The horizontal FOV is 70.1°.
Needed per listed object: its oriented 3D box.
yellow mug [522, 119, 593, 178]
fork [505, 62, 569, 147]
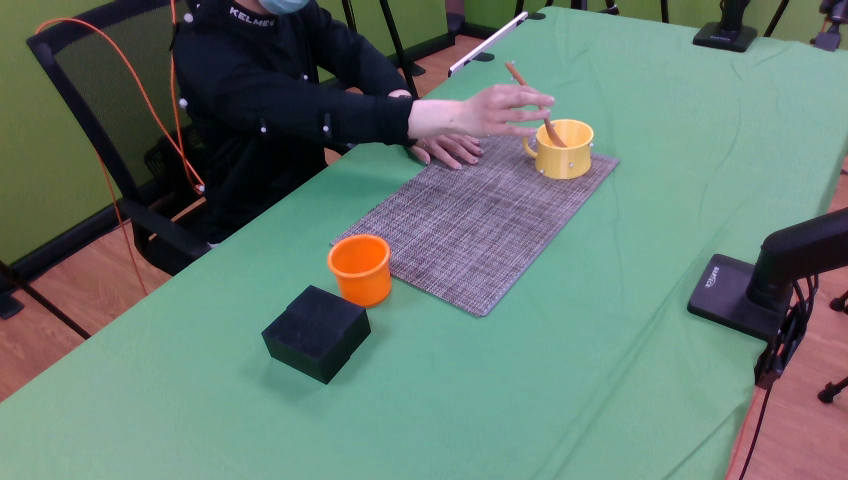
[{"bbox_3d":[0.237,-0.169,1.092,0.130,0.064,0.100,17,46,27],"label":"yellow mug"},{"bbox_3d":[0.194,-0.221,1.022,0.018,0.209,0.028,-48,31,-11],"label":"fork"}]
